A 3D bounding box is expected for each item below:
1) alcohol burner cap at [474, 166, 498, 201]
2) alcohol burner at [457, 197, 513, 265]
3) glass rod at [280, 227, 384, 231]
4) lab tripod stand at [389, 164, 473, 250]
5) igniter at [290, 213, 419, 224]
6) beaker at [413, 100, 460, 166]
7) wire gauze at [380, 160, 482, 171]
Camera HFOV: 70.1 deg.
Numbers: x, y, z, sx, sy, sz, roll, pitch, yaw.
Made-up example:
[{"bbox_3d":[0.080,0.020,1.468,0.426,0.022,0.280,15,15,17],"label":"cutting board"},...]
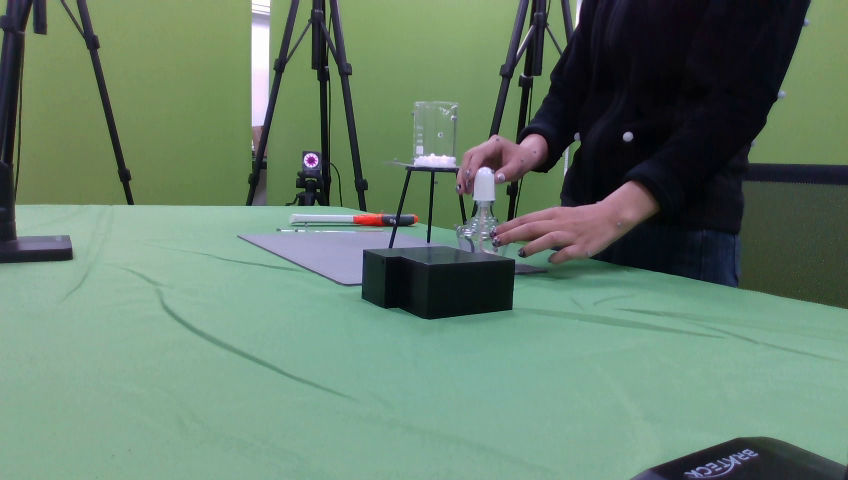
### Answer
[{"bbox_3d":[0.086,-0.078,0.833,0.034,0.048,0.034,3,11,0],"label":"alcohol burner cap"},{"bbox_3d":[0.085,-0.025,0.838,0.078,0.119,0.078,0,8,0],"label":"alcohol burner"},{"bbox_3d":[-0.175,-0.021,1.161,0.200,0.008,0.008,1,7,-15],"label":"glass rod"},{"bbox_3d":[0.011,-0.054,0.960,0.148,0.131,0.148,2,9,0],"label":"lab tripod stand"},{"bbox_3d":[-0.143,-0.046,1.288,0.278,0.025,0.057,-1,-3,-24],"label":"igniter"},{"bbox_3d":[0.020,-0.167,0.953,0.073,0.100,0.084,5,9,26],"label":"beaker"},{"bbox_3d":[0.011,-0.119,0.951,0.122,0.011,0.124,-5,12,-32],"label":"wire gauze"}]
